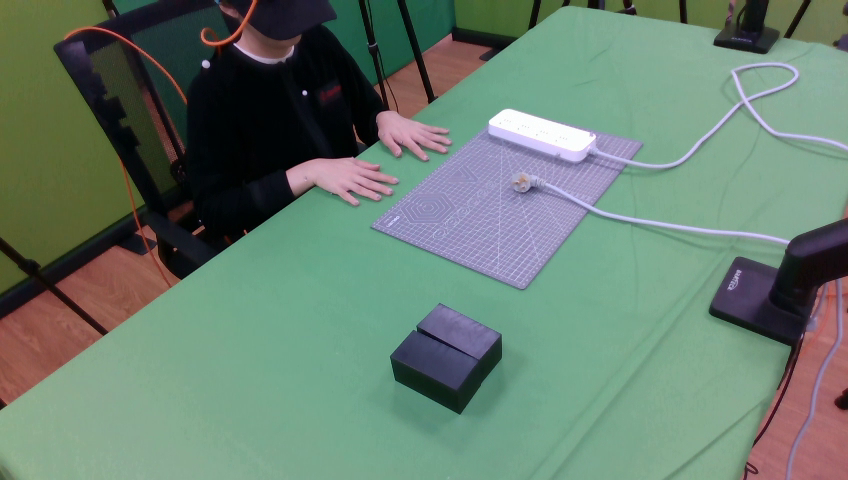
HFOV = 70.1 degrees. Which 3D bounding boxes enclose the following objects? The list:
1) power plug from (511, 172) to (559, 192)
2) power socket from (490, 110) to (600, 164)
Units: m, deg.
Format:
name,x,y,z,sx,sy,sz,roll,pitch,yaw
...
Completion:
name,x,y,z,sx,sy,sz,roll,pitch,yaw
power plug,0.188,-0.101,1.044,0.072,0.035,0.053,2,21,42
power socket,0.227,-0.201,1.166,0.225,0.033,0.072,26,52,33
